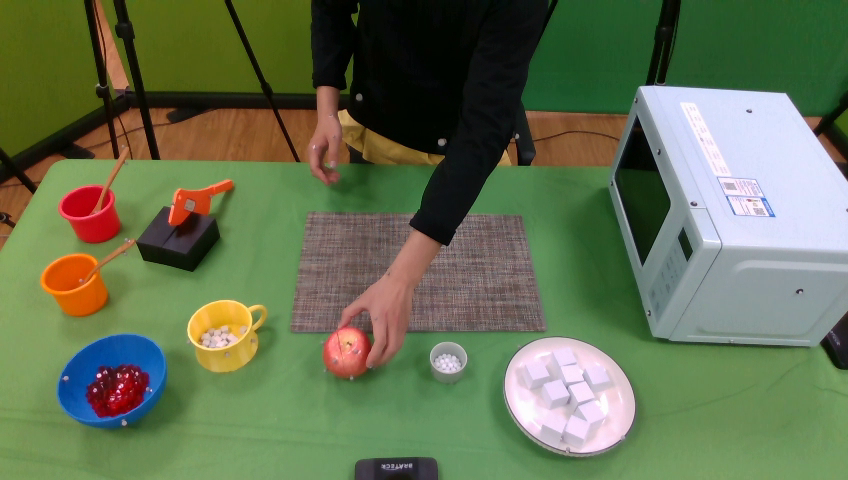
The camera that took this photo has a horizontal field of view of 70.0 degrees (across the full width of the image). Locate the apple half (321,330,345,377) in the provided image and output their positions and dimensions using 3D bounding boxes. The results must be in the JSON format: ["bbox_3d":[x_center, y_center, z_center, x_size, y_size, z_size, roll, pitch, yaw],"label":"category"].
[{"bbox_3d":[-0.146,0.188,0.970,0.033,0.082,0.080,-13,48,-11],"label":"apple half"}]

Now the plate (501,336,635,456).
[{"bbox_3d":[0.225,0.248,0.963,0.208,0.039,0.206,2,46,-2],"label":"plate"}]

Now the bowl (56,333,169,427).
[{"bbox_3d":[-0.456,0.223,0.911,0.151,0.077,0.150,3,46,-2],"label":"bowl"}]

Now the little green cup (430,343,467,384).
[{"bbox_3d":[0.039,0.203,0.993,0.061,0.039,0.061,2,46,-2],"label":"little green cup"}]

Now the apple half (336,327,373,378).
[{"bbox_3d":[-0.108,0.179,0.976,0.053,0.075,0.080,-12,51,-10],"label":"apple half"}]

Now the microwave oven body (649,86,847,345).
[{"bbox_3d":[0.568,-0.053,1.118,0.326,0.261,0.439,2,45,-1],"label":"microwave oven body"}]

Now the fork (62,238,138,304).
[{"bbox_3d":[-0.547,0.053,1.018,0.207,0.019,0.028,-36,41,23],"label":"fork"}]

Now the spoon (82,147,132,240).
[{"bbox_3d":[-0.602,-0.089,1.156,0.041,0.022,0.193,27,95,19],"label":"spoon"}]

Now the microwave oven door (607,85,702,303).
[{"bbox_3d":[0.423,-0.094,1.140,0.039,0.245,0.353,2,46,-1],"label":"microwave oven door"}]

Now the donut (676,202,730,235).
[{"bbox_3d":[0.538,-0.043,1.170,0.099,0.048,0.098,5,26,-2],"label":"donut"}]

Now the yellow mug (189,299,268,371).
[{"bbox_3d":[-0.316,0.148,1.002,0.131,0.064,0.099,-33,56,-31],"label":"yellow mug"}]

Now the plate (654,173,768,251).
[{"bbox_3d":[0.556,-0.050,1.187,0.209,0.038,0.208,1,46,-1],"label":"plate"}]

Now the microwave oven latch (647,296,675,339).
[{"bbox_3d":[0.413,0.134,1.061,0.030,0.029,0.078,5,45,2],"label":"microwave oven latch"}]

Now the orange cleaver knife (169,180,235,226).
[{"bbox_3d":[-0.436,-0.076,1.199,0.012,0.077,0.211,17,17,9],"label":"orange cleaver knife"}]
